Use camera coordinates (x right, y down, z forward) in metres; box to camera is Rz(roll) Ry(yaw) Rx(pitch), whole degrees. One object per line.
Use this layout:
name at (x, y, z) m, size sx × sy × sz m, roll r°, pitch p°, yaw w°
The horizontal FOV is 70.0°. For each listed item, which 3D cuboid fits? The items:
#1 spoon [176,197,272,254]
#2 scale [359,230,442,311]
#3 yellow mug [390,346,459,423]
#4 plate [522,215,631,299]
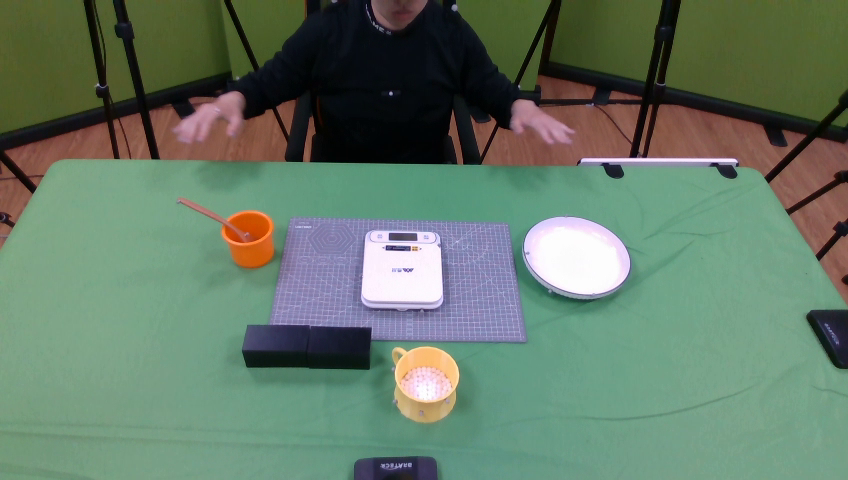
spoon at (-0.362, -0.028, 1.108) m, size 0.021 × 0.195 × 0.041 m, roll -35°, pitch 36°, yaw 24°
scale at (-0.043, 0.048, 1.138) m, size 0.149 × 0.032 × 0.199 m, roll 2°, pitch 46°, yaw -3°
yellow mug at (-0.009, 0.217, 0.958) m, size 0.100 × 0.064 × 0.130 m, roll -33°, pitch 56°, yaw -31°
plate at (0.292, 0.035, 1.175) m, size 0.209 × 0.038 × 0.208 m, roll 2°, pitch 46°, yaw -2°
